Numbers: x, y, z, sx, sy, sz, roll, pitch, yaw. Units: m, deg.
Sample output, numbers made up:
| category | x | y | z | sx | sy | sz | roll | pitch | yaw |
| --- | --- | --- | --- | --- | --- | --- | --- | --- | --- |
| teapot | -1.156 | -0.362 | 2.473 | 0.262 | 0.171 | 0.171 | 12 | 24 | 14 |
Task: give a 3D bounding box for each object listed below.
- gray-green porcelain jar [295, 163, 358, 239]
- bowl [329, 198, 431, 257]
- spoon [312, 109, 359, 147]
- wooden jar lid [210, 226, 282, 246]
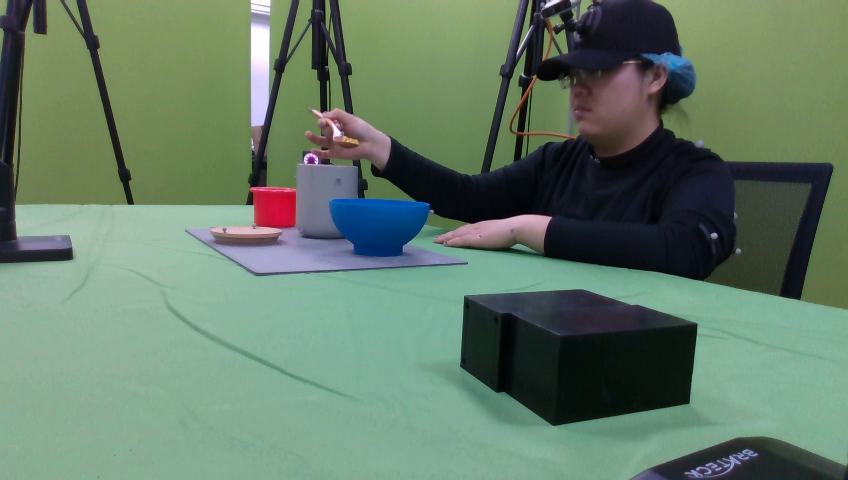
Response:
| category | x | y | z | sx | sy | sz | roll | pitch | yaw |
| --- | --- | --- | --- | --- | --- | --- | --- | --- | --- |
| gray-green porcelain jar | -0.170 | -0.069 | 1.054 | 0.106 | 0.126 | 0.106 | 3 | 7 | 0 |
| bowl | -0.066 | -0.019 | 0.895 | 0.151 | 0.077 | 0.151 | 3 | 7 | 0 |
| spoon | -0.162 | -0.202 | 1.074 | 0.042 | 0.021 | 0.193 | 4 | 29 | -32 |
| wooden jar lid | -0.279 | -0.006 | 0.951 | 0.108 | 0.020 | 0.108 | 2 | 8 | 0 |
